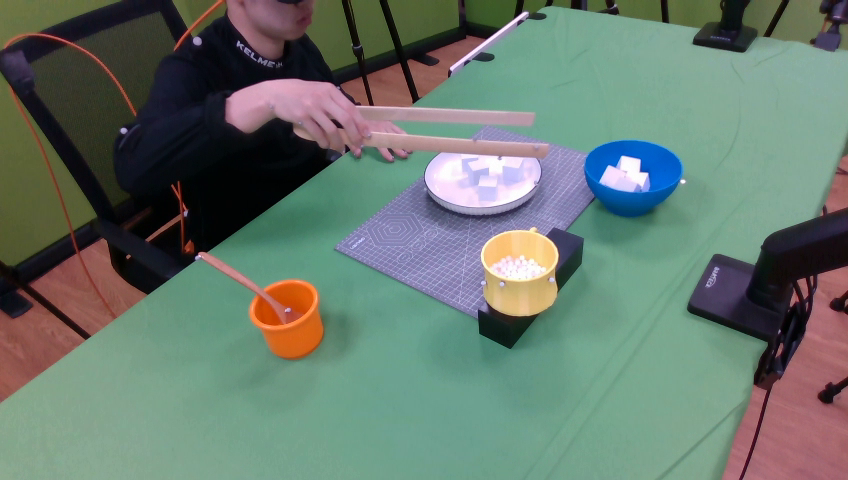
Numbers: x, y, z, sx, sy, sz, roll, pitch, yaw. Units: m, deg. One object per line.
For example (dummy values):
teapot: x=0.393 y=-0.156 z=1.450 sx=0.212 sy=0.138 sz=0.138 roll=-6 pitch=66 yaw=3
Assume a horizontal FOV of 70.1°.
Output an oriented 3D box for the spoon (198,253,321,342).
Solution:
spoon: x=-0.220 y=0.075 z=0.814 sx=0.021 sy=0.194 sz=0.041 roll=-36 pitch=18 yaw=39

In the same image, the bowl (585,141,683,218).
bowl: x=0.335 y=-0.089 z=0.983 sx=0.151 sy=0.077 sz=0.150 roll=-4 pitch=40 yaw=4

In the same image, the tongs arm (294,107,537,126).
tongs arm: x=-0.005 y=-0.190 z=0.946 sx=0.389 sy=0.028 sz=0.028 roll=-2 pitch=47 yaw=-13

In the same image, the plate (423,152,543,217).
plate: x=0.103 y=-0.103 z=1.059 sx=0.207 sy=0.039 sz=0.206 roll=-4 pitch=40 yaw=4

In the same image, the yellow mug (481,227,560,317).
yellow mug: x=0.131 y=0.032 z=0.801 sx=0.099 sy=0.064 sz=0.131 roll=11 pitch=43 yaw=20

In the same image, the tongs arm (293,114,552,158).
tongs arm: x=0.000 y=-0.155 z=0.907 sx=0.386 sy=0.026 sz=0.050 roll=1 pitch=43 yaw=-9
